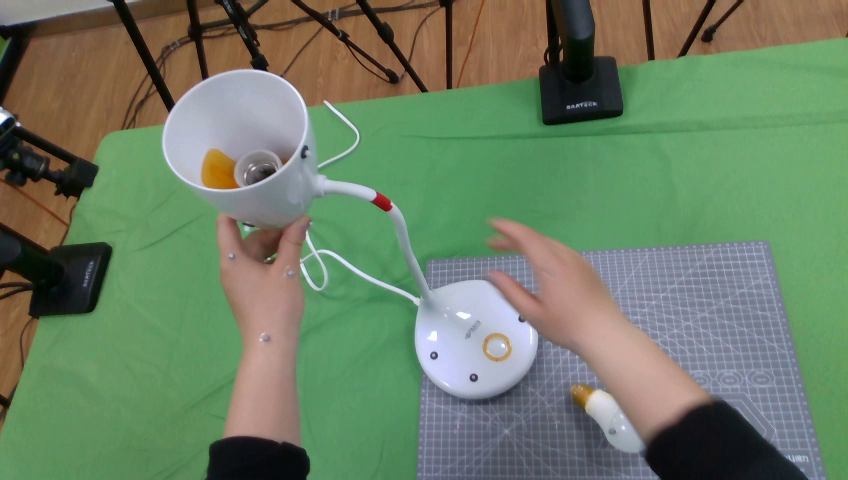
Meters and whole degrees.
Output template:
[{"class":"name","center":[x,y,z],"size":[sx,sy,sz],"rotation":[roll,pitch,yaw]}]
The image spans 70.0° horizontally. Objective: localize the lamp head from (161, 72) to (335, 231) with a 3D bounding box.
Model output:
[{"class":"lamp head","center":[-0.136,-0.060,0.508],"size":[0.112,0.124,0.111],"rotation":[-4,64,9]}]

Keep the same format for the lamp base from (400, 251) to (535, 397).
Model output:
[{"class":"lamp base","center":[0.036,0.083,0.724],"size":[0.178,0.182,0.160],"rotation":[20,68,26]}]

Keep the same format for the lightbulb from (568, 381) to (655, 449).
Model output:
[{"class":"lightbulb","center":[0.213,0.196,0.699],"size":[0.106,0.060,0.059],"rotation":[27,70,42]}]
